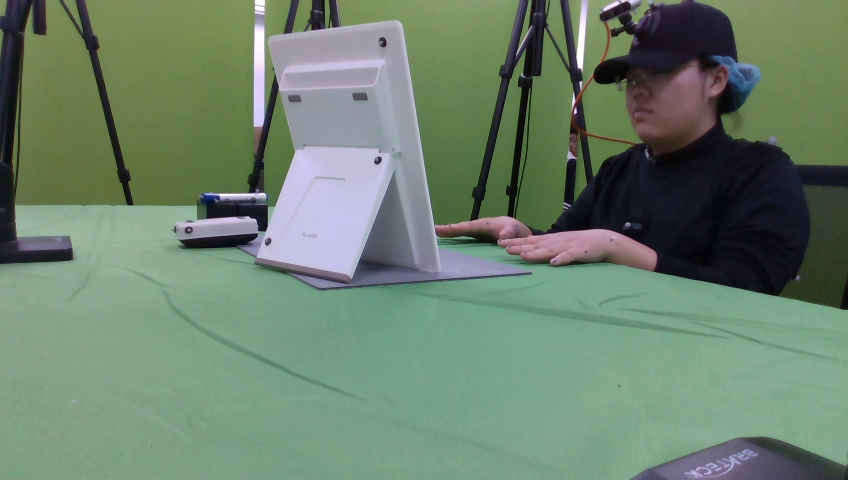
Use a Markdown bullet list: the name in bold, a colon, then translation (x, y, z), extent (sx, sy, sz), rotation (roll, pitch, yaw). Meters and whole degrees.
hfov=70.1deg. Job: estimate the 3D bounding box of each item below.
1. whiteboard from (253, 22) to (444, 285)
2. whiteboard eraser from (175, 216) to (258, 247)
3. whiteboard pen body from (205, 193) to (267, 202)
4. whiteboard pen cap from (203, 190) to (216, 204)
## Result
- **whiteboard**: translation (-0.125, -0.081, 0.715), extent (0.216, 0.305, 0.144), rotation (9, 29, 36)
- **whiteboard eraser**: translation (-0.313, -0.013, 0.915), extent (0.113, 0.042, 0.055), rotation (-5, 12, -30)
- **whiteboard pen body**: translation (-0.354, -0.081, 1.147), extent (0.017, 0.017, 0.141), rotation (8, 9, 33)
- **whiteboard pen cap**: translation (-0.388, -0.077, 1.093), extent (0.018, 0.018, 0.033), rotation (2, 25, -7)
